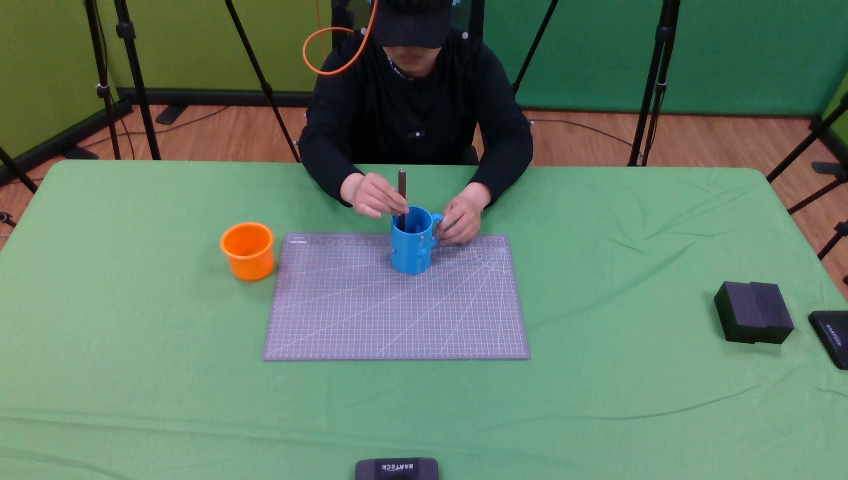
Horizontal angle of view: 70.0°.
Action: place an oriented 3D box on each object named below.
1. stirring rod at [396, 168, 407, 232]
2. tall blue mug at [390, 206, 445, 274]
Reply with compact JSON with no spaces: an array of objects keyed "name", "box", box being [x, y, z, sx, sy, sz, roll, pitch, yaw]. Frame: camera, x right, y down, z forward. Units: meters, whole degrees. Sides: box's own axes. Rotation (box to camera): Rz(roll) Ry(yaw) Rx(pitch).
[{"name":"stirring rod","box":[-0.042,-0.062,1.086,0.014,0.177,0.006,17,51,10]},{"name":"tall blue mug","box":[-0.017,-0.008,1.143,0.077,0.108,0.107,23,49,19]}]
